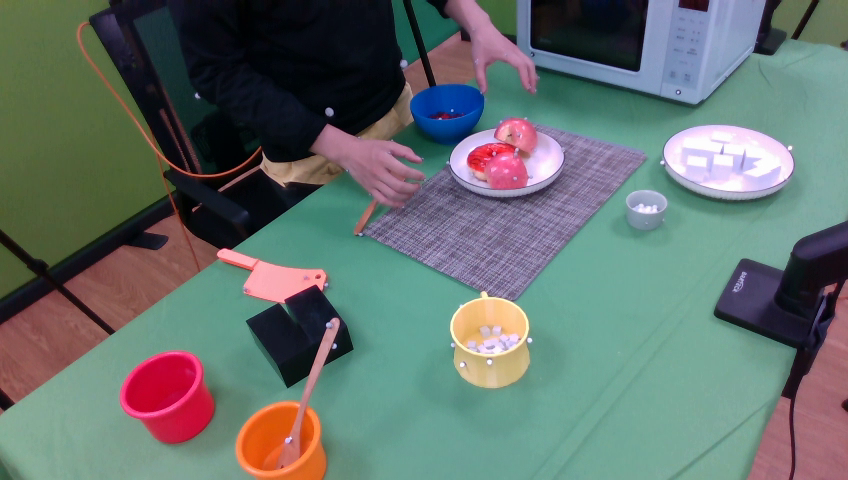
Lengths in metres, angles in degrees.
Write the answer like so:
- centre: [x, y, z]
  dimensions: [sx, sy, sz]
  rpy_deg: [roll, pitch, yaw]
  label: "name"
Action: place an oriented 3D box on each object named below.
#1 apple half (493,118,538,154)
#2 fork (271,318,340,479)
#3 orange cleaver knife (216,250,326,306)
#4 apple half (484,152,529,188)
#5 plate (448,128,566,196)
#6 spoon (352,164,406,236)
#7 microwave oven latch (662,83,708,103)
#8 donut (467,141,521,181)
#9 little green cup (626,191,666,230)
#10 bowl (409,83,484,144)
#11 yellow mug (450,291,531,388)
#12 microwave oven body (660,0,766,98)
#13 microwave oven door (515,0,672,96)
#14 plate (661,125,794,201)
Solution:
- centre: [0.175, -0.196, 1.113]
  dimensions: [0.080, 0.053, 0.075]
  rpy_deg: [29, 11, 34]
  label: "apple half"
- centre: [-0.132, 0.186, 0.676]
  dimensions: [0.028, 0.019, 0.207]
  rpy_deg: [18, 90, 28]
  label: "fork"
- centre: [-0.248, 0.058, 0.945]
  dimensions: [0.210, 0.012, 0.077]
  rpy_deg: [13, 49, 20]
  label: "orange cleaver knife"
- centre: [0.144, -0.116, 1.032]
  dimensions: [0.081, 0.033, 0.081]
  rpy_deg: [2, 77, -11]
  label: "apple half"
- centre: [0.150, -0.138, 1.096]
  dimensions: [0.209, 0.038, 0.208]
  rpy_deg: [-4, 40, 4]
  label: "plate"
- centre: [-0.083, -0.074, 1.074]
  dimensions: [0.041, 0.022, 0.194]
  rpy_deg: [21, 46, 10]
  label: "spoon"
- centre: [0.518, -0.296, 1.204]
  dimensions: [0.078, 0.029, 0.030]
  rpy_deg: [28, 52, 35]
  label: "microwave oven latch"
- centre: [0.127, -0.145, 1.090]
  dimensions: [0.099, 0.048, 0.098]
  rpy_deg: [-5, 39, 5]
  label: "donut"
- centre: [0.352, -0.046, 0.963]
  dimensions: [0.061, 0.039, 0.061]
  rpy_deg: [-4, 40, 4]
  label: "little green cup"
- centre: [0.048, -0.245, 1.213]
  dimensions: [0.151, 0.077, 0.150]
  rpy_deg: [-4, 40, 4]
  label: "bowl"
- centre: [0.085, 0.120, 0.786]
  dimensions: [0.100, 0.064, 0.130]
  rpy_deg: [-7, 39, 1]
  label: "yellow mug"
- centre: [0.472, -0.513, 1.317]
  dimensions: [0.438, 0.261, 0.327]
  rpy_deg: [26, 51, 34]
  label: "microwave oven body"
- centre: [0.343, -0.454, 1.259]
  dimensions: [0.353, 0.245, 0.039]
  rpy_deg: [26, 51, 33]
  label: "microwave oven door"
- centre: [0.513, -0.128, 1.035]
  dimensions: [0.207, 0.039, 0.206]
  rpy_deg: [-4, 40, 4]
  label: "plate"
